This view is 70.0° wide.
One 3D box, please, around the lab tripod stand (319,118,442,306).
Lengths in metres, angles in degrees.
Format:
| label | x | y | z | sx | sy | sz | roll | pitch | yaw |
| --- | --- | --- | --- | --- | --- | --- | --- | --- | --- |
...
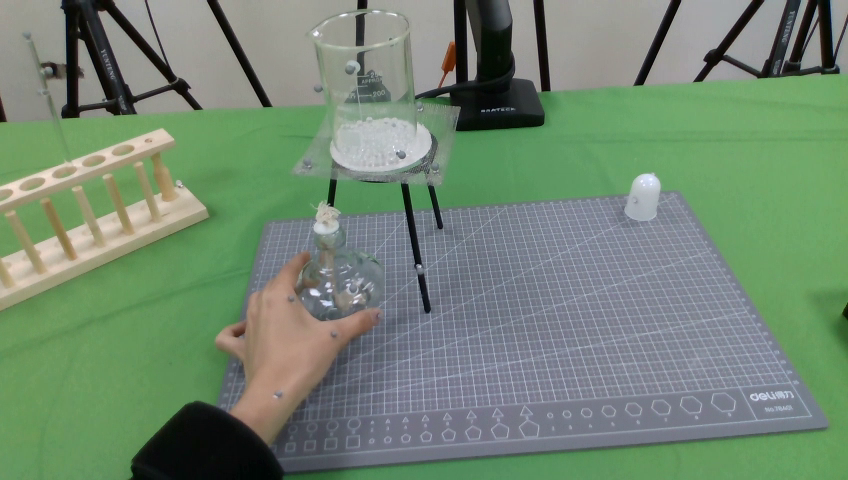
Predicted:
| label | x | y | z | sx | sy | sz | roll | pitch | yaw |
| --- | --- | --- | --- | --- | --- | --- | --- | --- | --- |
| lab tripod stand | -0.033 | -0.030 | 0.543 | 0.148 | 0.133 | 0.147 | -3 | 41 | 3 |

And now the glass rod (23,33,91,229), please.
| label | x | y | z | sx | sy | sz | roll | pitch | yaw |
| --- | --- | --- | --- | --- | --- | --- | --- | --- | --- |
| glass rod | -0.351 | -0.097 | 0.587 | 0.008 | 0.201 | 0.008 | 1 | 33 | 0 |

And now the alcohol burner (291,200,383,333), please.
| label | x | y | z | sx | sy | sz | roll | pitch | yaw |
| --- | --- | --- | --- | --- | --- | --- | --- | --- | --- |
| alcohol burner | -0.074 | 0.019 | 0.502 | 0.078 | 0.120 | 0.077 | -3 | 37 | 2 |

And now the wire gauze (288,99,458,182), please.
| label | x | y | z | sx | sy | sz | roll | pitch | yaw |
| --- | --- | --- | --- | --- | --- | --- | --- | --- | --- |
| wire gauze | -0.038 | -0.087 | 0.508 | 0.125 | 0.011 | 0.120 | 2 | 39 | 12 |

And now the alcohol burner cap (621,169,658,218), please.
| label | x | y | z | sx | sy | sz | roll | pitch | yaw |
| --- | --- | --- | --- | --- | --- | --- | --- | --- | --- |
| alcohol burner cap | 0.222 | -0.050 | 0.621 | 0.034 | 0.048 | 0.033 | -2 | 40 | 2 |

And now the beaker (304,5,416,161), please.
| label | x | y | z | sx | sy | sz | roll | pitch | yaw |
| --- | --- | --- | --- | --- | --- | --- | --- | --- | --- |
| beaker | -0.046 | -0.119 | 0.472 | 0.084 | 0.101 | 0.073 | 7 | 42 | 13 |

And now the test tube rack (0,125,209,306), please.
| label | x | y | z | sx | sy | sz | roll | pitch | yaw |
| --- | --- | --- | --- | --- | --- | --- | --- | --- | --- |
| test tube rack | -0.352 | -0.024 | 0.601 | 0.242 | 0.086 | 0.066 | -30 | 46 | -28 |
